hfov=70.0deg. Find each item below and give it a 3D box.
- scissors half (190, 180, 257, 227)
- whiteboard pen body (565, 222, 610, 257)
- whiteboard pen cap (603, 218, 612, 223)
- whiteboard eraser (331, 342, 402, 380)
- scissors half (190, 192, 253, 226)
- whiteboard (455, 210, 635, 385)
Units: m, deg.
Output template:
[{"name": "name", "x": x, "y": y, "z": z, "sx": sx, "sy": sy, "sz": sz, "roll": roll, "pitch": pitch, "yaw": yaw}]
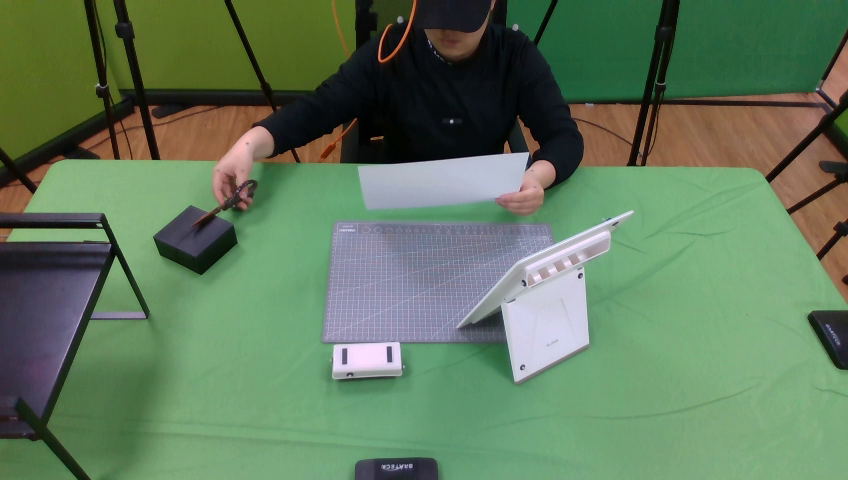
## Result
[{"name": "scissors half", "x": -0.386, "y": -0.071, "z": 1.173, "sx": 0.013, "sy": 0.040, "sz": 0.175, "roll": 39, "pitch": 48, "yaw": 4}, {"name": "whiteboard pen body", "x": 0.335, "y": -0.004, "z": 1.228, "sx": 0.141, "sy": 0.017, "sz": 0.017, "roll": -33, "pitch": 56, "yaw": -29}, {"name": "whiteboard pen cap", "x": 0.379, "y": -0.031, "z": 1.255, "sx": 0.033, "sy": 0.018, "sz": 0.018, "roll": -33, "pitch": 57, "yaw": -30}, {"name": "whiteboard eraser", "x": -0.094, "y": 0.198, "z": 0.986, "sx": 0.113, "sy": 0.042, "sz": 0.055, "roll": -2, "pitch": 44, "yaw": -6}, {"name": "scissors half", "x": -0.394, "y": -0.059, "z": 1.186, "sx": 0.013, "sy": 0.040, "sz": 0.175, "roll": 35, "pitch": 32, "yaw": 7}, {"name": "whiteboard", "x": 0.211, "y": 0.111, "z": 0.955, "sx": 0.217, "sy": 0.306, "sz": 0.143, "roll": -21, "pitch": 71, "yaw": -23}]
